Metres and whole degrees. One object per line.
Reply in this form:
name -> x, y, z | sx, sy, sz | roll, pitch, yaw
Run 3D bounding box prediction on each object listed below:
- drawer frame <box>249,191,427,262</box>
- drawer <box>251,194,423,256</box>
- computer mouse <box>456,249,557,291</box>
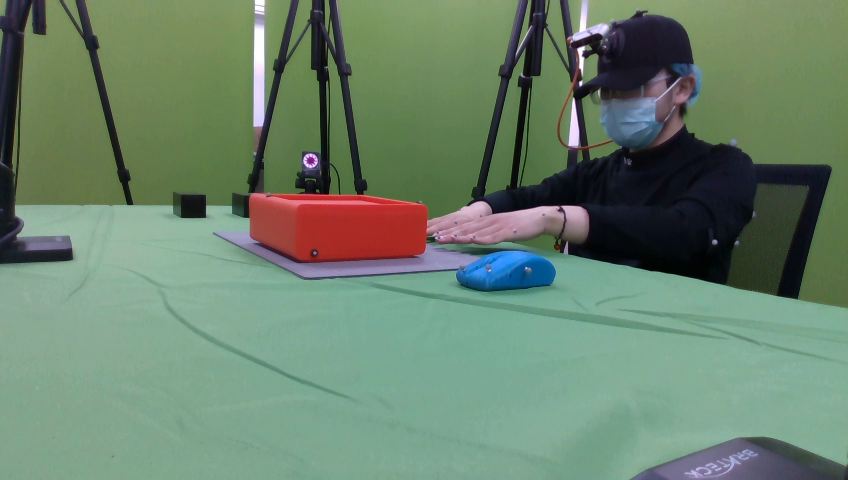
drawer frame -> -0.135, -0.027, 0.909 | 0.203, 0.082, 0.212 | -1, 9, -32
drawer -> -0.136, -0.026, 0.911 | 0.195, 0.073, 0.210 | -1, 8, -32
computer mouse -> 0.097, 0.034, 0.709 | 0.118, 0.041, 0.062 | -7, 12, -31
